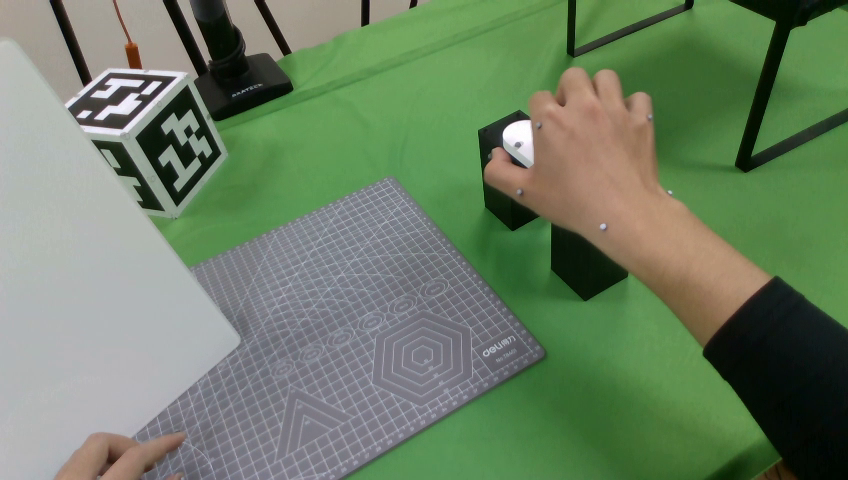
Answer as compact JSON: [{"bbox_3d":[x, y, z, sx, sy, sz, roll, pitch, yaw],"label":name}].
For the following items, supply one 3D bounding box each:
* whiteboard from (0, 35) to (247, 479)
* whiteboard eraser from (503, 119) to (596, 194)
[{"bbox_3d":[-0.336,0.032,0.490,0.217,0.308,0.142,-43,34,-26],"label":"whiteboard"},{"bbox_3d":[0.107,-0.076,0.526,0.041,0.019,0.100,-28,49,-17],"label":"whiteboard eraser"}]
